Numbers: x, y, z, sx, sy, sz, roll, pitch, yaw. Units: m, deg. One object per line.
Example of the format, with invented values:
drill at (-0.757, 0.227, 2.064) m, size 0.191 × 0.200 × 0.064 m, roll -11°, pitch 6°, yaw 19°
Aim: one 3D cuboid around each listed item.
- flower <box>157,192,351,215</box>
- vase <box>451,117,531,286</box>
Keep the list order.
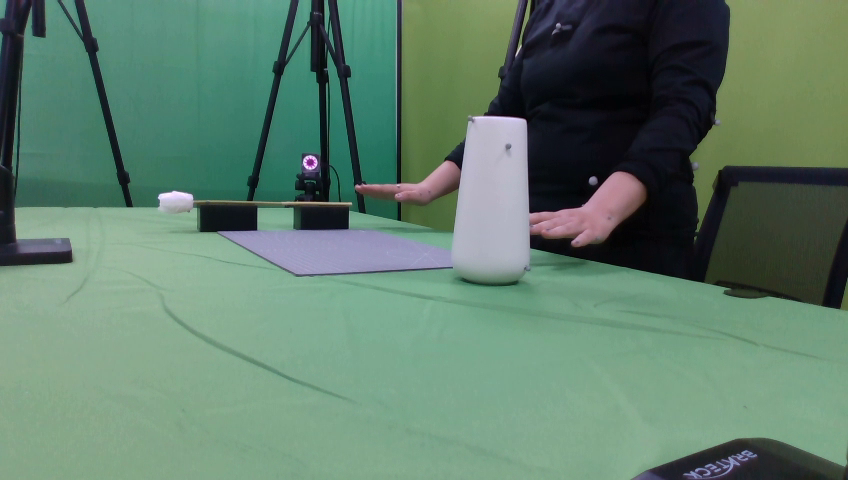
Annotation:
flower at (-0.314, -0.076, 1.160) m, size 0.363 × 0.038 × 0.044 m, roll -4°, pitch -22°, yaw -24°
vase at (0.083, -0.047, 0.737) m, size 0.098 × 0.200 × 0.098 m, roll 1°, pitch 6°, yaw 0°
